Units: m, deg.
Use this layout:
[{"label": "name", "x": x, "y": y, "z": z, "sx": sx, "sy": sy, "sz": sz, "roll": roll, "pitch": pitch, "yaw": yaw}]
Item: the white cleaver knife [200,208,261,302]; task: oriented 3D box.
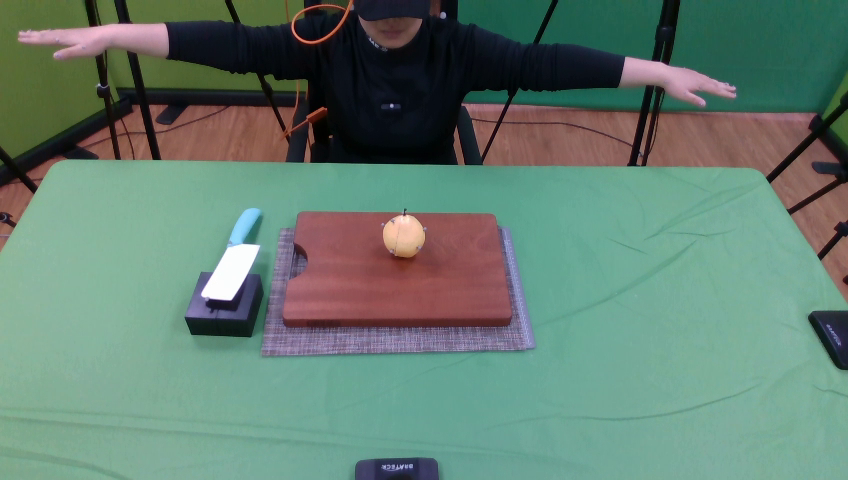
[{"label": "white cleaver knife", "x": -0.338, "y": 0.024, "z": 1.116, "sx": 0.066, "sy": 0.021, "sz": 0.285, "roll": 7, "pitch": 35, "yaw": -3}]

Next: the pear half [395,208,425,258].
[{"label": "pear half", "x": -0.025, "y": -0.018, "z": 1.113, "sx": 0.056, "sy": 0.110, "sz": 0.076, "roll": 1, "pitch": 50, "yaw": -4}]

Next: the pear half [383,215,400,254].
[{"label": "pear half", "x": -0.061, "y": -0.013, "z": 1.119, "sx": 0.031, "sy": 0.088, "sz": 0.070, "roll": 0, "pitch": 54, "yaw": -4}]
